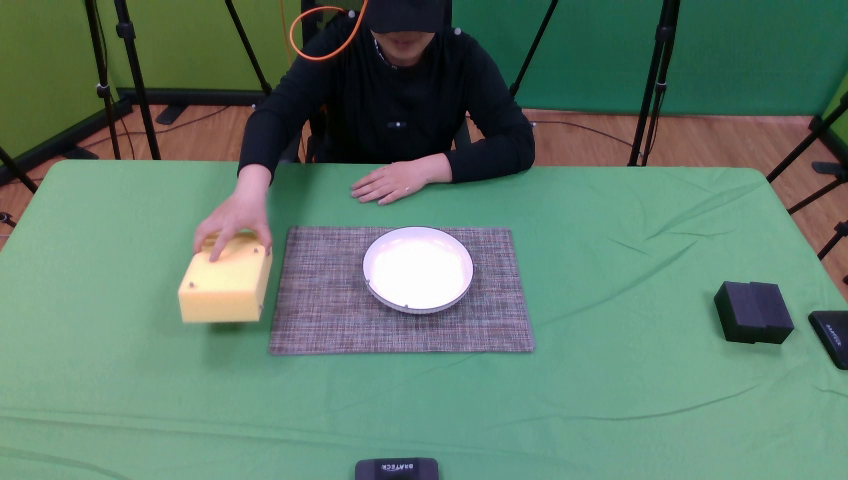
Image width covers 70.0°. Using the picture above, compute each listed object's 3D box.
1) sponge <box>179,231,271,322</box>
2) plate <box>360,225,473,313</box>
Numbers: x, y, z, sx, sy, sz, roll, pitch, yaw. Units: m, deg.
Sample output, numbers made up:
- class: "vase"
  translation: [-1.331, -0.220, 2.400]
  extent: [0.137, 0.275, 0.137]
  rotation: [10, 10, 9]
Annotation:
- class: "sponge"
  translation: [-0.337, 0.058, 1.049]
  extent: [0.118, 0.061, 0.205]
  rotation: [-1, 29, -8]
- class: "plate"
  translation: [-0.014, 0.057, 1.127]
  extent: [0.208, 0.039, 0.206]
  rotation: [2, 46, -2]
